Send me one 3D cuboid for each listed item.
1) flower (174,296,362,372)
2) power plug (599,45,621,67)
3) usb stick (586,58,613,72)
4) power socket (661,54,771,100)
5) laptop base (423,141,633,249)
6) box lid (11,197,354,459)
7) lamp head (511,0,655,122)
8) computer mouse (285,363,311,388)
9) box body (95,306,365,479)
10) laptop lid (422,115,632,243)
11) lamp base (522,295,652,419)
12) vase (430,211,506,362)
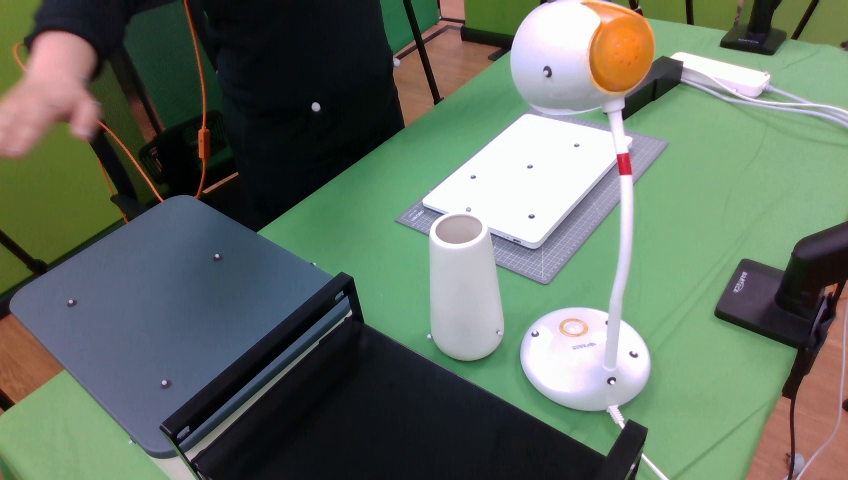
[{"bbox_3d":[-0.233,0.115,0.832,0.359,0.044,0.038,10,-2,33],"label":"flower"},{"bbox_3d":[0.437,-0.422,1.412,0.053,0.035,0.072,-19,74,-46],"label":"power plug"},{"bbox_3d":[0.401,-0.399,1.381,0.059,0.027,0.021,0,48,21],"label":"usb stick"},{"bbox_3d":[0.615,-0.349,1.285,0.072,0.033,0.225,-36,48,-28],"label":"power socket"},{"bbox_3d":[0.194,-0.117,1.087,0.233,0.023,0.355,21,48,34],"label":"laptop base"},{"bbox_3d":[-0.288,0.072,0.710,0.368,0.015,0.264,25,50,32],"label":"box lid"},{"bbox_3d":[0.155,-0.168,0.564,0.113,0.113,0.122,-18,23,-12],"label":"lamp head"},{"bbox_3d":[-0.161,0.158,0.791,0.116,0.041,0.063,26,45,23],"label":"computer mouse"},{"bbox_3d":[-0.281,0.128,0.759,0.361,0.161,0.255,24,49,32],"label":"box body"},{"bbox_3d":[0.190,-0.126,1.081,0.239,0.013,0.358,23,48,34],"label":"laptop lid"},{"bbox_3d":[0.201,0.095,0.710,0.161,0.181,0.177,-16,43,-10],"label":"lamp base"},{"bbox_3d":[0.054,0.062,0.757,0.098,0.201,0.097,-3,40,3],"label":"vase"}]
